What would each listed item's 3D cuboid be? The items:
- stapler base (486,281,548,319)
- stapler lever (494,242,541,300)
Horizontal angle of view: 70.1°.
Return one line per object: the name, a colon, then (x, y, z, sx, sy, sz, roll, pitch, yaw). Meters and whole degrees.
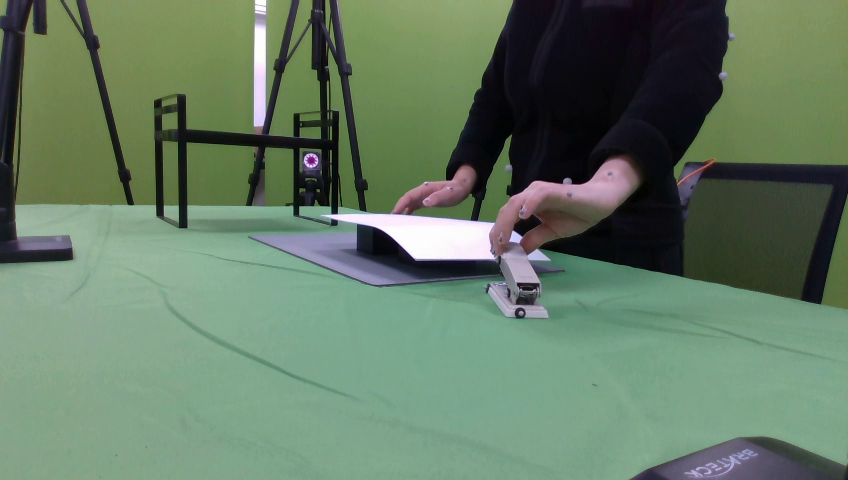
stapler base: (0.092, 0.053, 0.618, 0.041, 0.024, 0.130, -2, 9, -3)
stapler lever: (0.093, 0.029, 0.613, 0.027, 0.040, 0.118, -2, 9, -3)
